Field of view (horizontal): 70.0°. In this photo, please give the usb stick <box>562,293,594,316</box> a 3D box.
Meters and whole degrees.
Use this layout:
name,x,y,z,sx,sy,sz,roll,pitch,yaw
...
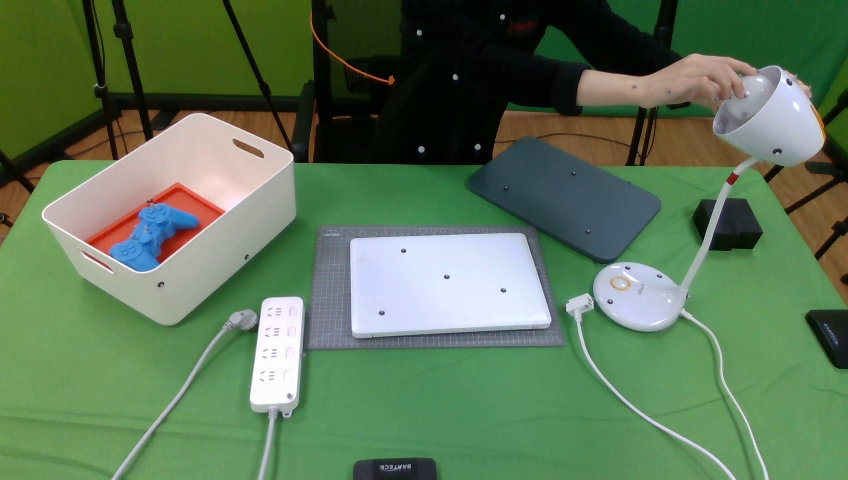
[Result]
name,x,y,z,sx,sy,sz,roll,pitch,yaw
usb stick,0.275,0.118,1.087,0.021,0.059,0.027,39,45,-27

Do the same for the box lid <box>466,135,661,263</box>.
name,x,y,z,sx,sy,sz,roll,pitch,yaw
box lid,0.306,-0.102,1.327,0.370,0.015,0.263,32,52,25

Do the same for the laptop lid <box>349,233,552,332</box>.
name,x,y,z,sx,sy,sz,roll,pitch,yaw
laptop lid,0.040,0.070,1.119,0.357,0.013,0.240,-1,44,-5

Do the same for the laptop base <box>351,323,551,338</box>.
name,x,y,z,sx,sy,sz,roll,pitch,yaw
laptop base,0.040,0.080,1.126,0.355,0.023,0.234,-2,43,-6

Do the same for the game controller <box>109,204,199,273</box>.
name,x,y,z,sx,sy,sz,roll,pitch,yaw
game controller,-0.467,-0.005,1.044,0.097,0.052,0.154,8,45,10

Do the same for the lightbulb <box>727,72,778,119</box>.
name,x,y,z,sx,sy,sz,roll,pitch,yaw
lightbulb,0.453,-0.177,0.801,0.108,0.059,0.059,36,50,-2

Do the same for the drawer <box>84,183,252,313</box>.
name,x,y,z,sx,sy,sz,roll,pitch,yaw
drawer,-0.457,0.008,1.099,0.194,0.073,0.211,29,49,21

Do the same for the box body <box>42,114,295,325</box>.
name,x,y,z,sx,sy,sz,roll,pitch,yaw
box body,-0.437,-0.046,1.110,0.253,0.161,0.363,24,49,19

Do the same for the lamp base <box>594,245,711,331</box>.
name,x,y,z,sx,sy,sz,roll,pitch,yaw
lamp base,0.413,0.052,1.069,0.179,0.181,0.160,18,48,9

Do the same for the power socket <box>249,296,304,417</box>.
name,x,y,z,sx,sy,sz,roll,pitch,yaw
power socket,-0.239,0.182,0.996,0.072,0.033,0.225,-2,47,-5

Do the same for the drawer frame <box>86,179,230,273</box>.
name,x,y,z,sx,sy,sz,roll,pitch,yaw
drawer frame,-0.453,0.010,1.100,0.201,0.083,0.213,28,54,23

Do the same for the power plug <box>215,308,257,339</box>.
name,x,y,z,sx,sy,sz,roll,pitch,yaw
power plug,-0.317,0.143,1.024,0.072,0.053,0.035,-32,57,-9

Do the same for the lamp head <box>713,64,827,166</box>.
name,x,y,z,sx,sy,sz,roll,pitch,yaw
lamp head,0.468,-0.152,0.811,0.123,0.112,0.112,37,47,-13
